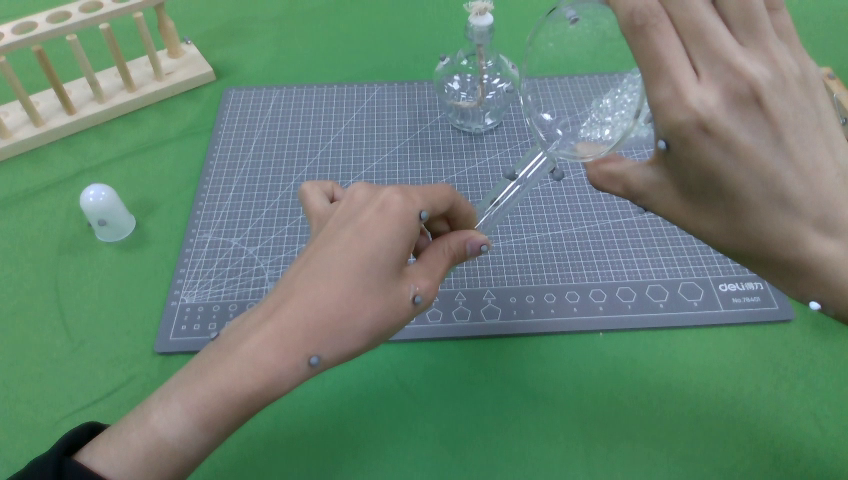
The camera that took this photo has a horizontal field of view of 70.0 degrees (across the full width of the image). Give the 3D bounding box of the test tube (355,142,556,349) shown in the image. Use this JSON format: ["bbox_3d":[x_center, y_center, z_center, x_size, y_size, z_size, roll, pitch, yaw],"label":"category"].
[{"bbox_3d":[0.014,0.006,0.328,0.150,0.017,0.017,-47,55,13],"label":"test tube"}]

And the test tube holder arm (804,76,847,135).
[{"bbox_3d":[0.337,-0.073,0.457,0.015,0.013,0.176,1,48,-6],"label":"test tube holder arm"}]

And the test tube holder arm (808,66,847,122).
[{"bbox_3d":[0.335,-0.110,0.482,0.015,0.010,0.087,1,49,-6],"label":"test tube holder arm"}]

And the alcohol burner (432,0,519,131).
[{"bbox_3d":[0.046,-0.155,0.530,0.078,0.120,0.077,0,52,0],"label":"alcohol burner"}]

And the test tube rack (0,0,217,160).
[{"bbox_3d":[-0.331,-0.158,0.562,0.242,0.086,0.066,-28,55,-20],"label":"test tube rack"}]

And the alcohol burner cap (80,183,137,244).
[{"bbox_3d":[-0.253,-0.024,0.481,0.034,0.048,0.033,0,50,1],"label":"alcohol burner cap"}]

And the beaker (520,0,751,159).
[{"bbox_3d":[0.109,-0.083,0.309,0.100,0.084,0.073,-16,56,-33],"label":"beaker"}]
